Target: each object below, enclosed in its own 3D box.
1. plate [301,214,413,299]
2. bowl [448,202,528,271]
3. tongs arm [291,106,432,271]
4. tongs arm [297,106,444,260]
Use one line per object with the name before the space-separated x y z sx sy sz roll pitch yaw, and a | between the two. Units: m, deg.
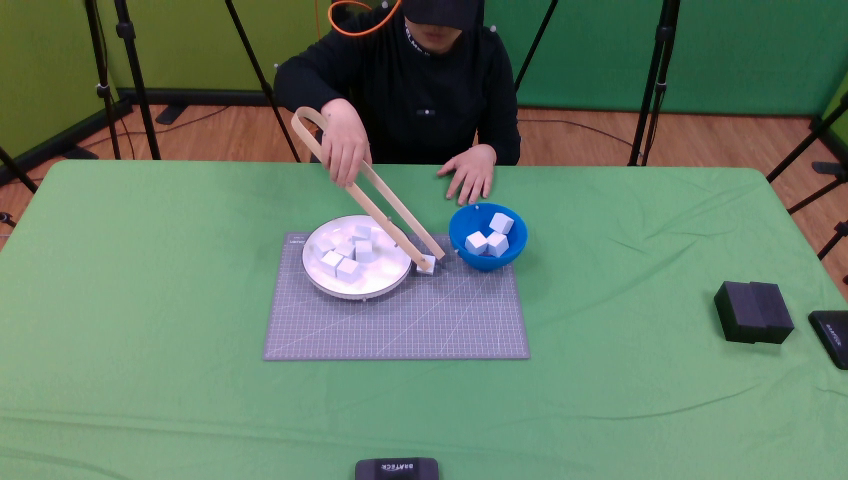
plate | -0.124 0.033 1.143 0.208 0.039 0.206 2 46 -2
bowl | 0.118 0.006 1.160 0.151 0.077 0.150 2 46 -2
tongs arm | -0.115 -0.096 1.126 0.385 0.026 0.050 46 43 0
tongs arm | -0.099 -0.108 1.149 0.387 0.028 0.028 48 47 1
